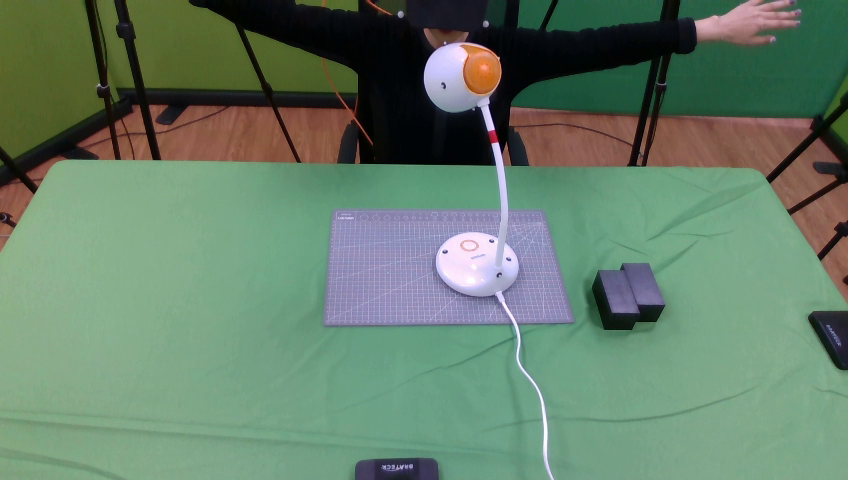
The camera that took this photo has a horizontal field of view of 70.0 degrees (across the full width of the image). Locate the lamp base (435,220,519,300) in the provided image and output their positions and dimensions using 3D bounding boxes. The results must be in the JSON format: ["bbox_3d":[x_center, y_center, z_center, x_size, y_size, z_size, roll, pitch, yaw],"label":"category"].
[{"bbox_3d":[0.112,-0.003,1.096,0.161,0.181,0.178,-22,54,-23],"label":"lamp base"}]

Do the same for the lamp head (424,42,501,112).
[{"bbox_3d":[0.071,-0.258,0.962,0.112,0.113,0.122,-16,19,-18],"label":"lamp head"}]
